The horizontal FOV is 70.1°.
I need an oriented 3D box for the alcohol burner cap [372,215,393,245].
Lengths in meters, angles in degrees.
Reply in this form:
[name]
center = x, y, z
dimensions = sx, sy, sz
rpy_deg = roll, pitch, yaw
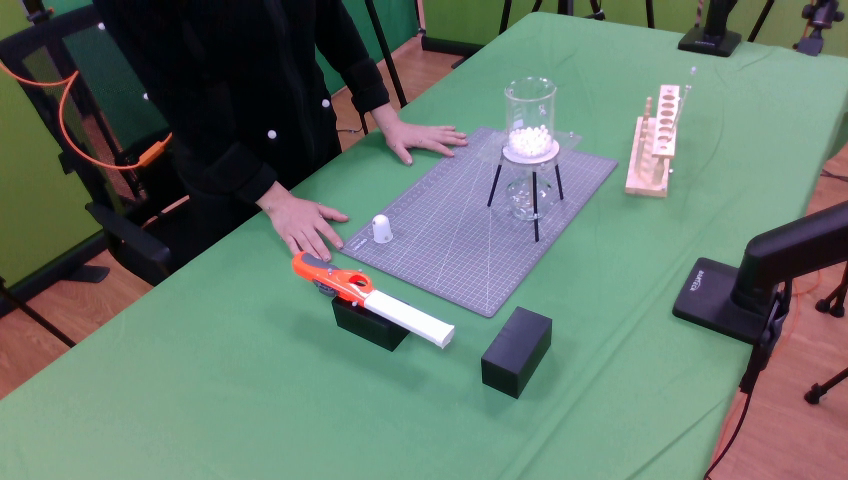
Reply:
[alcohol burner cap]
center = -0.070, -0.019, 0.990
dimensions = 0.034, 0.048, 0.033
rpy_deg = -4, 41, 4

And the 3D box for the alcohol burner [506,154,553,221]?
[alcohol burner]
center = 0.171, -0.090, 0.984
dimensions = 0.078, 0.119, 0.077
rpy_deg = -5, 42, 5

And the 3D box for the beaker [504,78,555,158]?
[beaker]
center = 0.160, -0.181, 0.900
dimensions = 0.084, 0.101, 0.073
rpy_deg = -32, 46, -27

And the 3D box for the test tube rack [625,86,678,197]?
[test tube rack]
center = 0.412, -0.184, 1.088
dimensions = 0.066, 0.085, 0.242
rpy_deg = 9, 43, 18

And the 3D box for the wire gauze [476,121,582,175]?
[wire gauze]
center = 0.162, -0.141, 0.929
dimensions = 0.120, 0.011, 0.125
rpy_deg = 19, 49, 32

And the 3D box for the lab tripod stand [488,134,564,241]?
[lab tripod stand]
center = 0.168, -0.092, 0.972
dimensions = 0.148, 0.132, 0.147
rpy_deg = -5, 41, 5

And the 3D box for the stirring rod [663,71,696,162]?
[stirring rod]
center = 0.411, -0.195, 0.981
dimensions = 0.014, 0.177, 0.006
rpy_deg = 11, 50, 14

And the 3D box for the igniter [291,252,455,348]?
[igniter]
center = -0.080, 0.076, 0.822
dimensions = 0.274, 0.025, 0.057
rpy_deg = 23, 45, 27
